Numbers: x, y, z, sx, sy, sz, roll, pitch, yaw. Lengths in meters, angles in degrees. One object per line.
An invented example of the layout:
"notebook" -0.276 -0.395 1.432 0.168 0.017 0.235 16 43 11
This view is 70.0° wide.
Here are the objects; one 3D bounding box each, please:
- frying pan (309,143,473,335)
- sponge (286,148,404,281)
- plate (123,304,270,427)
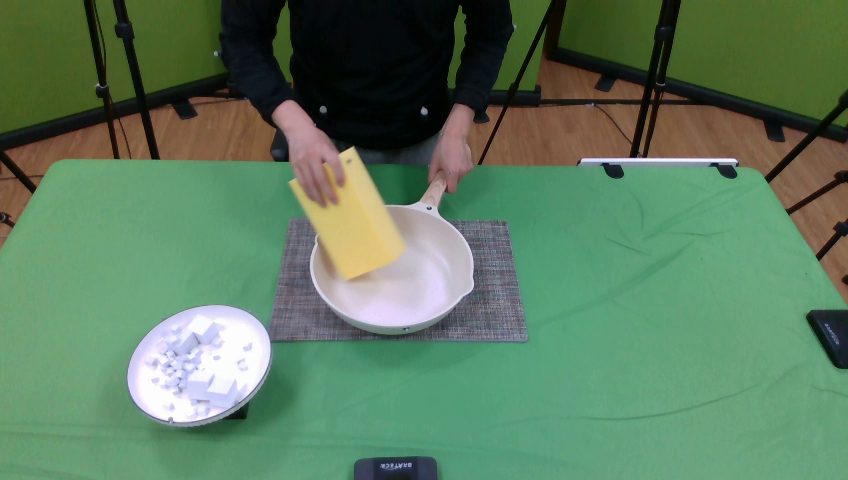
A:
"frying pan" -0.018 -0.022 1.155 0.306 0.103 0.486 20 57 13
"sponge" -0.138 -0.042 1.074 0.118 0.207 0.061 -20 15 28
"plate" -0.336 0.189 0.913 0.208 0.039 0.206 1 46 -1
